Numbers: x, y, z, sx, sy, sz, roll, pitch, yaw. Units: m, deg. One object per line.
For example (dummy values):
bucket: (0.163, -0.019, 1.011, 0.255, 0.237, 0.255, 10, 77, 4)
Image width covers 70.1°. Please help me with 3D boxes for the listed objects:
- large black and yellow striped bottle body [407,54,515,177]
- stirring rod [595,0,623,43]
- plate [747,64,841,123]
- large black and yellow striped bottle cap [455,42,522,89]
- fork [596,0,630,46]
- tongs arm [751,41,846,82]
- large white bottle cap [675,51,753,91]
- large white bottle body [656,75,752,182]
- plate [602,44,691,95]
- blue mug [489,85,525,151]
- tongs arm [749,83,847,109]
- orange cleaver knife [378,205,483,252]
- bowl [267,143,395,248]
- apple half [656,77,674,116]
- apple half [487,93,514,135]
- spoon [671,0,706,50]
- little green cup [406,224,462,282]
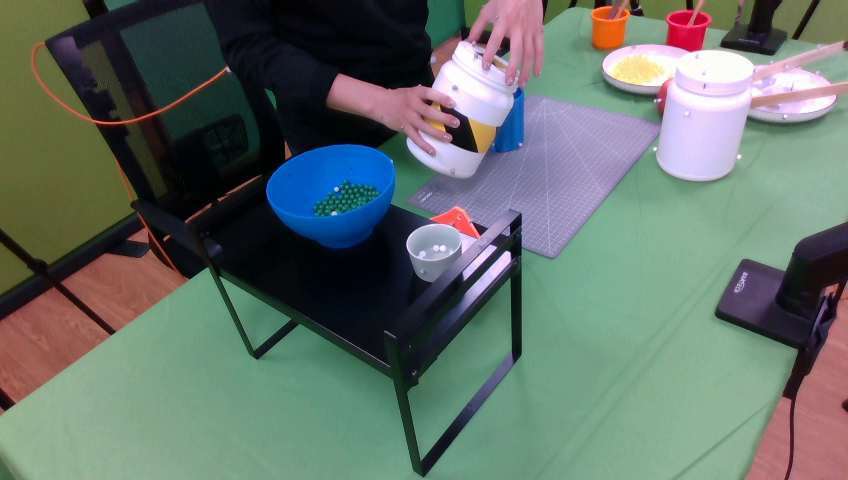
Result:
large black and yellow striped bottle body: (0.066, -0.211, 0.992, 0.131, 0.184, 0.130, 23, 28, -13)
stirring rod: (0.460, -0.556, 1.459, 0.014, 0.006, 0.176, 30, 93, 23)
plate: (0.694, -0.283, 1.189, 0.207, 0.039, 0.206, -4, 40, 4)
large black and yellow striped bottle cap: (0.102, -0.276, 0.953, 0.115, 0.019, 0.114, 24, 28, -13)
fork: (0.481, -0.556, 1.452, 0.028, 0.019, 0.207, 40, 103, 40)
tongs arm: (0.708, -0.331, 1.194, 0.386, 0.026, 0.050, -18, 45, -16)
large white bottle cap: (0.463, -0.271, 0.967, 0.115, 0.018, 0.114, -4, 40, 3)
large white bottle body: (0.472, -0.207, 1.022, 0.130, 0.185, 0.130, -4, 41, 4)
plate: (0.495, -0.367, 1.317, 0.209, 0.038, 0.208, -4, 40, 4)
blue mug: (0.138, -0.240, 1.169, 0.116, 0.106, 0.082, 10, 44, 21)
tongs arm: (0.734, -0.281, 1.133, 0.388, 0.028, 0.028, -9, 47, -5)
orange cleaver knife: (0.005, -0.010, 0.944, 0.210, 0.077, 0.012, -5, 23, 47)
bowl: (-0.104, -0.043, 0.726, 0.151, 0.077, 0.150, -4, 40, 4)
apple half: (0.488, -0.281, 1.192, 0.053, 0.075, 0.081, 25, 54, 37)
apple half: (0.141, -0.238, 1.158, 0.033, 0.081, 0.080, -12, 40, -15)
spoon: (0.629, -0.520, 1.394, 0.041, 0.022, 0.193, 30, 96, 34)
little green cup: (0.012, 0.015, 0.668, 0.061, 0.039, 0.061, -4, 40, 4)
